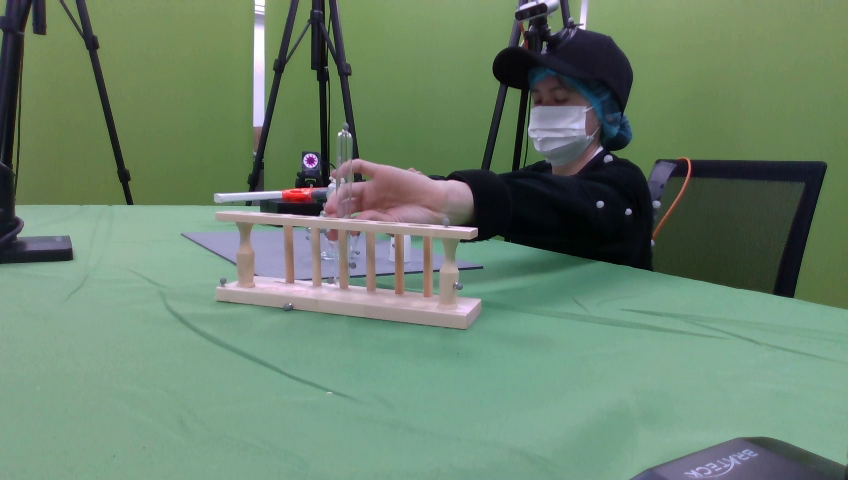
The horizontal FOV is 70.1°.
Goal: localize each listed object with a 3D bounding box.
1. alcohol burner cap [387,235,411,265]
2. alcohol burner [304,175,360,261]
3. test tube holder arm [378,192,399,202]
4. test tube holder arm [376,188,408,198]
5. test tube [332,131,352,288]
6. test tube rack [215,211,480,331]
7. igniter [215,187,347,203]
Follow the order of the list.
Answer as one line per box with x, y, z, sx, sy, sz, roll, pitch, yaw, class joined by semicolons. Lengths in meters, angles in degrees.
-0.035;0.009;0.839;0.034;0.048;0.034;2;6;0;alcohol burner cap
-0.126;-0.031;0.838;0.078;0.119;0.078;3;5;0;alcohol burner
-0.062;-0.078;1.089;0.015;0.010;0.088;-35;0;14;test tube holder arm
-0.057;-0.088;1.133;0.015;0.013;0.178;-35;0;14;test tube holder arm
-0.079;-0.028;0.580;0.017;0.150;0.017;2;7;0;test tube
-0.071;0.023;0.565;0.242;0.085;0.067;5;7;16;test tube rack
-0.293;-0.094;1.267;0.278;0.025;0.057;-6;12;-33;igniter
